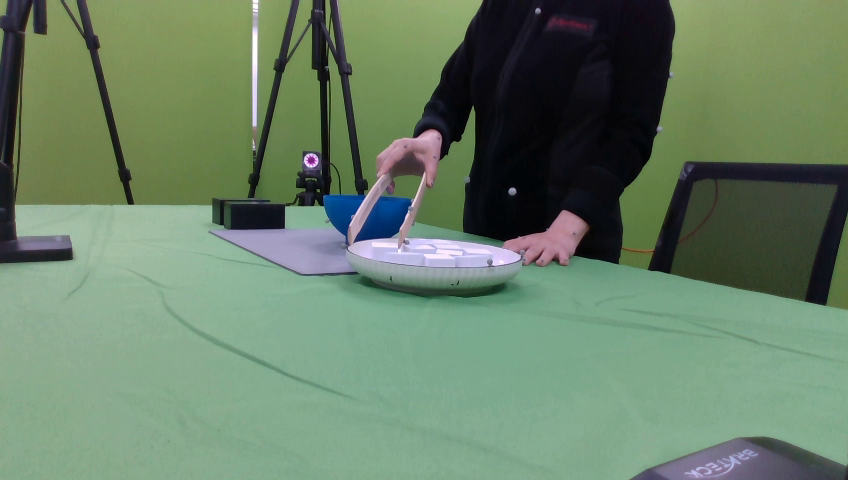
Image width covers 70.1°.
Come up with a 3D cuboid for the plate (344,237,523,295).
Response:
[{"bbox_3d":[0.010,0.030,0.706,0.208,0.039,0.207,3,8,0],"label":"plate"}]

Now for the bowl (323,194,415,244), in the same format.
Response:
[{"bbox_3d":[-0.090,-0.032,0.986,0.151,0.077,0.151,2,7,0],"label":"bowl"}]

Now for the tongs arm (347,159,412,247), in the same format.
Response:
[{"bbox_3d":[-0.060,-0.067,0.883,0.028,0.028,0.387,-1,19,8],"label":"tongs arm"}]

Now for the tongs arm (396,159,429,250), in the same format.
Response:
[{"bbox_3d":[-0.025,-0.065,0.881,0.051,0.026,0.385,3,20,8],"label":"tongs arm"}]
